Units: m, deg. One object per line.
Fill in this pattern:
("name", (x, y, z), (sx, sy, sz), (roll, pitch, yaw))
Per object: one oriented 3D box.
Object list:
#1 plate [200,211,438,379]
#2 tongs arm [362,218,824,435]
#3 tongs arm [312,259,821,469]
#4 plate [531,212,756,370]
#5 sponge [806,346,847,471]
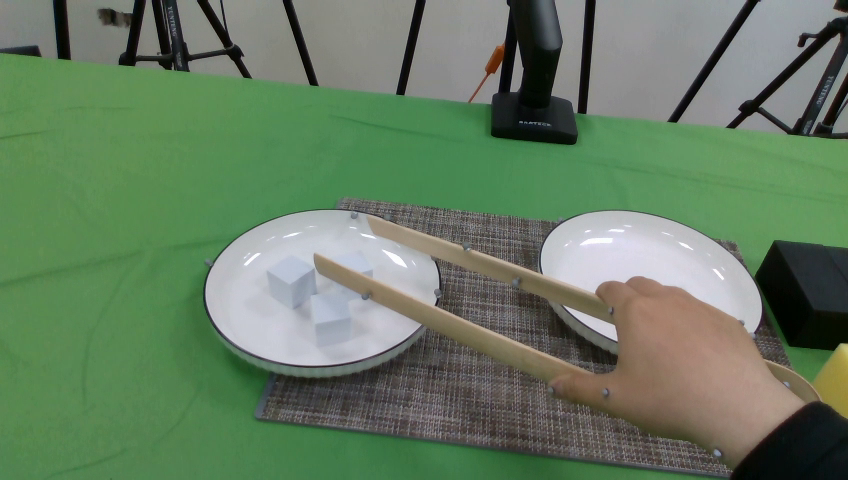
("plate", (-0.092, 0.048, 0.552), (0.209, 0.038, 0.207), (4, 39, -3))
("tongs arm", (0.083, 0.050, 0.457), (0.381, 0.027, 0.050), (18, 47, 33))
("tongs arm", (0.059, 0.074, 0.435), (0.384, 0.028, 0.028), (17, 43, 33))
("plate", (0.206, 0.048, 0.587), (0.208, 0.039, 0.205), (4, 39, -3))
("sponge", (0.389, 0.177, 0.438), (0.118, 0.061, 0.205), (4, 39, -1))
